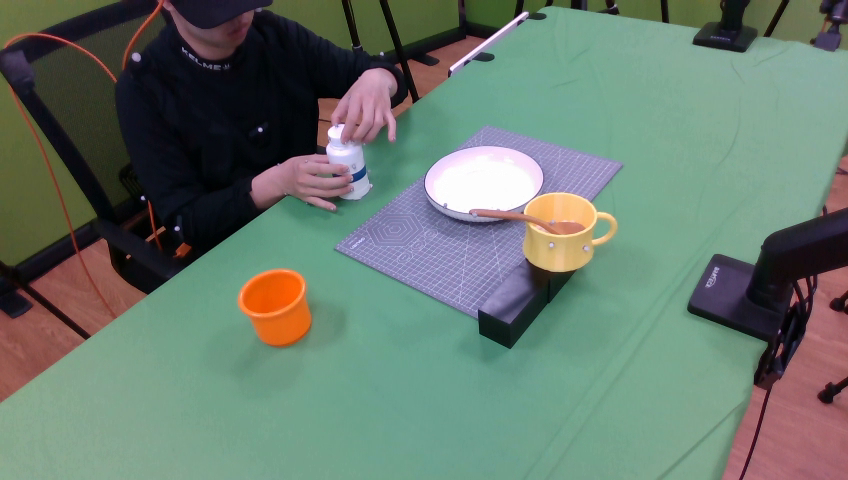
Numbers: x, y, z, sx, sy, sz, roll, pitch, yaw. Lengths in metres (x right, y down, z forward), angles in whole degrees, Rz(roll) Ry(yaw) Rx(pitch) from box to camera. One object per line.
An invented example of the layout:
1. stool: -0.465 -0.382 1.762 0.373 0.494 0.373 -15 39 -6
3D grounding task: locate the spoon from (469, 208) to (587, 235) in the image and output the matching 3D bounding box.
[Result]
1. spoon: 0.143 -0.026 0.817 0.195 0.021 0.041 12 34 -29

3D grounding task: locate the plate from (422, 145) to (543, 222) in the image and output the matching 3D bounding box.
1. plate: 0.101 -0.094 1.048 0.207 0.039 0.206 -4 41 4

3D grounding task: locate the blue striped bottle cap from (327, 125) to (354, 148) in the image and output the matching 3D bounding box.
1. blue striped bottle cap: -0.144 -0.177 1.033 0.044 0.021 0.044 -5 40 4

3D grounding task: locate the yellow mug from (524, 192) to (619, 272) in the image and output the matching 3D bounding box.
1. yellow mug: 0.206 -0.014 0.845 0.131 0.064 0.099 -4 41 2

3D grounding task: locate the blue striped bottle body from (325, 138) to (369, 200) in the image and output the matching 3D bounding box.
1. blue striped bottle body: -0.138 -0.136 1.071 0.063 0.121 0.063 -4 41 4
